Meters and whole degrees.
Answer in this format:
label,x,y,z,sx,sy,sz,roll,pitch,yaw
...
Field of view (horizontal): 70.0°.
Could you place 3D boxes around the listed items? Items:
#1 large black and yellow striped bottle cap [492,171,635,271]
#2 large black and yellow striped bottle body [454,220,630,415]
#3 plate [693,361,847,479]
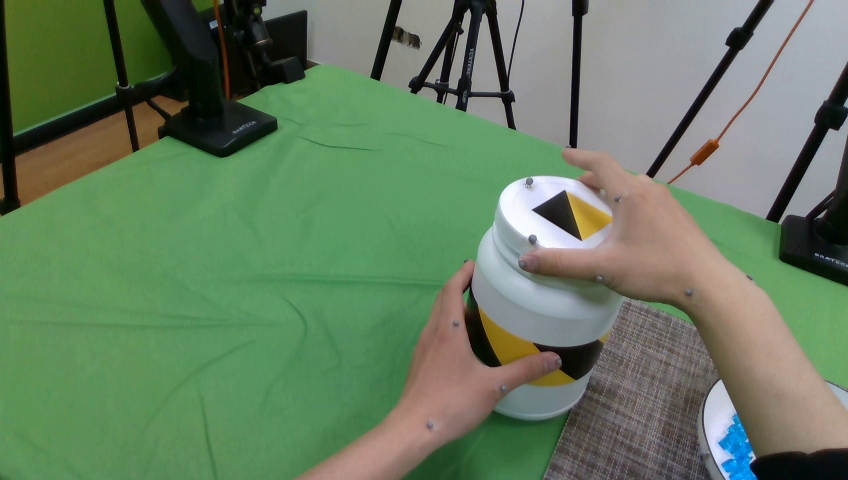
label,x,y,z,sx,sy,sz,roll,pitch,yaw
large black and yellow striped bottle cap,0.112,-0.019,0.489,0.115,0.019,0.114,7,38,-5
large black and yellow striped bottle body,0.103,0.053,0.545,0.131,0.185,0.129,6,39,-4
plate,0.336,0.197,0.527,0.208,0.039,0.205,6,38,-5
